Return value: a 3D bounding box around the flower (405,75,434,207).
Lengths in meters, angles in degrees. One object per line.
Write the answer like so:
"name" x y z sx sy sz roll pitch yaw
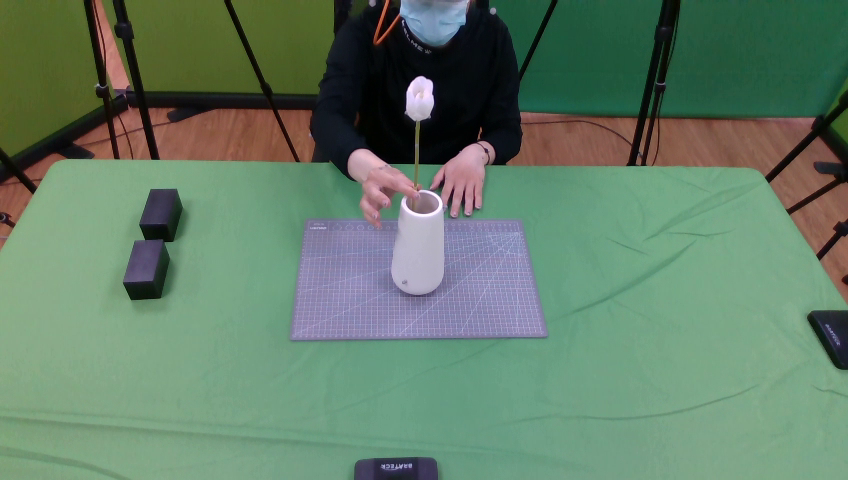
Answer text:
"flower" -0.015 -0.111 0.950 0.038 0.363 0.044 -10 60 -10

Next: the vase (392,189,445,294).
"vase" -0.007 0.007 1.060 0.098 0.201 0.097 2 48 -2
